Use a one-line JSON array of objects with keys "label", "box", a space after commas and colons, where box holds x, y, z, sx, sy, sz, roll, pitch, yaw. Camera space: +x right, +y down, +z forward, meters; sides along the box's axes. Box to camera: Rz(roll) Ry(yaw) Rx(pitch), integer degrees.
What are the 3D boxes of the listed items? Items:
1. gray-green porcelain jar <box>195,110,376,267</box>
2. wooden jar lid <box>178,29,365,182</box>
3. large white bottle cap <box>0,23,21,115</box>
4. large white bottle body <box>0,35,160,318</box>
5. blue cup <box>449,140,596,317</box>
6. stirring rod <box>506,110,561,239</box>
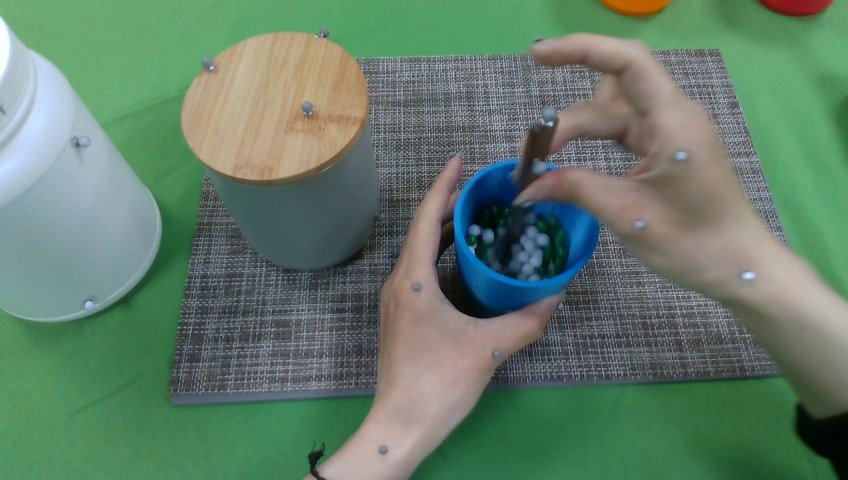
[{"label": "gray-green porcelain jar", "box": [-0.088, -0.048, 0.414, 0.106, 0.127, 0.105, 0, 63, 1]}, {"label": "wooden jar lid", "box": [-0.088, -0.078, 0.358, 0.108, 0.021, 0.107, -1, 63, 3]}, {"label": "large white bottle cap", "box": [-0.267, -0.080, 0.305, 0.115, 0.018, 0.114, 0, 63, 0]}, {"label": "large white bottle body", "box": [-0.266, -0.041, 0.381, 0.130, 0.186, 0.129, 0, 62, 0]}, {"label": "blue cup", "box": [0.055, 0.006, 0.393, 0.093, 0.101, 0.092, 1, 64, -2]}, {"label": "stirring rod", "box": [0.057, -0.028, 0.334, 0.014, 0.177, 0.006, -37, 76, -6]}]
